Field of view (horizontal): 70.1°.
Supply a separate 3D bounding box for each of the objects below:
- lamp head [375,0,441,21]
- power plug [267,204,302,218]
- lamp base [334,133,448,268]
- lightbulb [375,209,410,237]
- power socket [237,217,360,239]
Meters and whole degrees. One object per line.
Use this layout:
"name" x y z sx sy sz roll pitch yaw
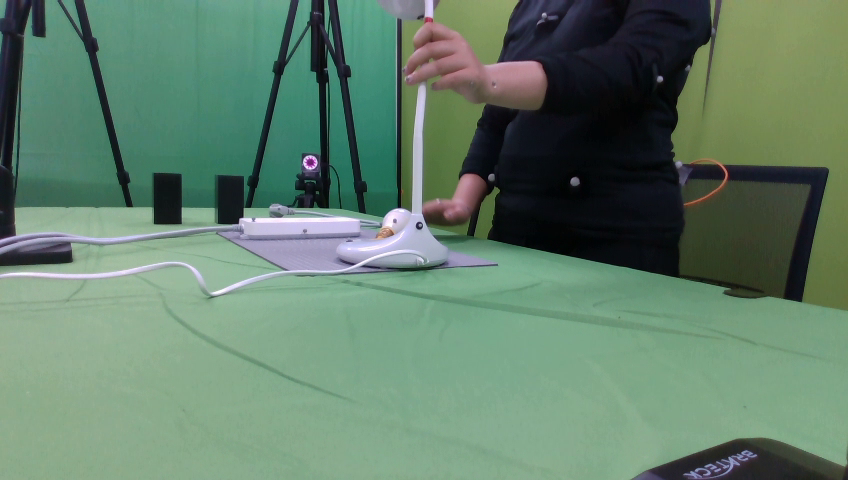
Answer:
"lamp head" -0.010 -0.372 0.826 0.113 0.112 0.122 0 -1 -18
"power plug" -0.327 -0.060 1.404 0.073 0.035 0.052 22 -14 -25
"lamp base" -0.034 -0.057 0.831 0.161 0.180 0.178 -2 11 -36
"lightbulb" -0.053 -0.016 1.023 0.059 0.059 0.108 6 23 22
"power socket" -0.221 -0.023 1.080 0.228 0.032 0.072 -2 8 -32
